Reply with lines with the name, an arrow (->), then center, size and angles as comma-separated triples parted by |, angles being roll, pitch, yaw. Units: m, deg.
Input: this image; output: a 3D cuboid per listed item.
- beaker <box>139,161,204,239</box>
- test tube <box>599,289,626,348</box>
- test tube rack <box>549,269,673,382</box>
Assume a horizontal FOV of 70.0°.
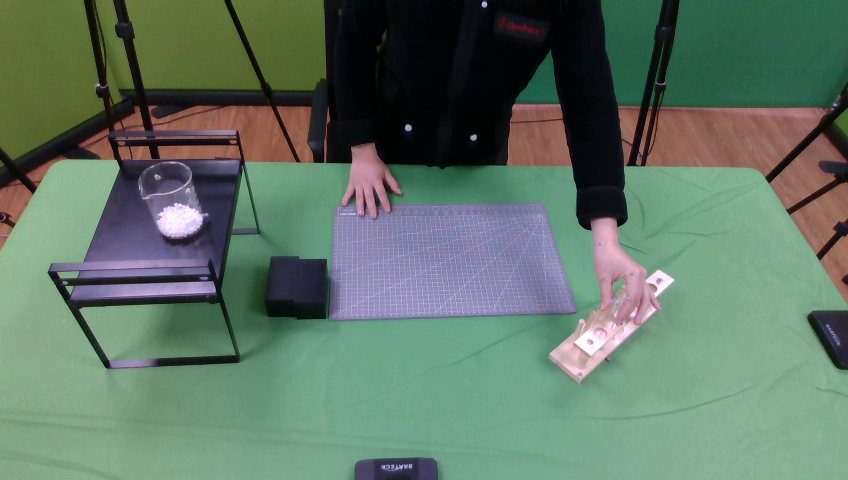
beaker -> -0.381, -0.056, 0.920 | 0.074, 0.101, 0.084 | 22, 49, 18
test tube -> 0.302, 0.130, 0.982 | 0.017, 0.151, 0.017 | 0, 47, 0
test tube rack -> 0.325, 0.134, 1.048 | 0.242, 0.085, 0.066 | -32, 55, -30
